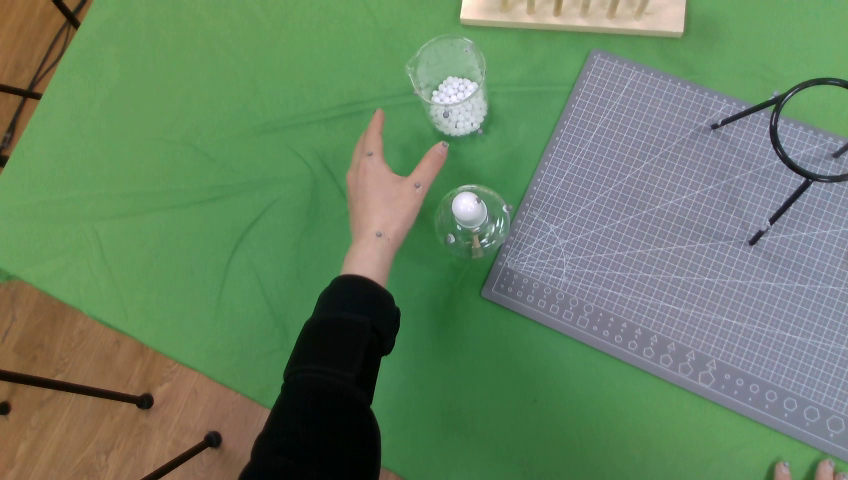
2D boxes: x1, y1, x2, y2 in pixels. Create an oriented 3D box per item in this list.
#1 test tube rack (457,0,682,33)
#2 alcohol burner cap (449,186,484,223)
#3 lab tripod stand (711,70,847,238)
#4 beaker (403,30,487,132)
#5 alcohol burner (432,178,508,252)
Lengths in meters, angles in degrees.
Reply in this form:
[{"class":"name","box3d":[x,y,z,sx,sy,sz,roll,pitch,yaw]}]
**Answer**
[{"class":"test tube rack","box3d":[0.156,-0.278,0.641,0.242,0.085,0.066,7,82,9]},{"class":"alcohol burner cap","box3d":[0.039,-0.035,0.568,0.034,0.048,0.034,-1,83,8]},{"class":"lab tripod stand","box3d":[0.339,-0.082,0.557,0.148,0.132,0.148,-1,82,7]},{"class":"beaker","box3d":[0.026,-0.161,0.634,0.084,0.101,0.074,10,82,10]},{"class":"alcohol burner","box3d":[0.045,-0.028,0.604,0.078,0.119,0.077,-1,79,6]}]
